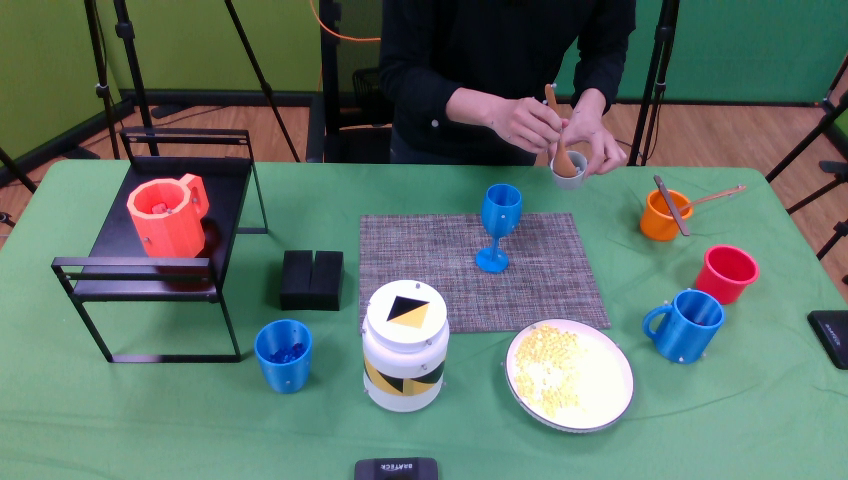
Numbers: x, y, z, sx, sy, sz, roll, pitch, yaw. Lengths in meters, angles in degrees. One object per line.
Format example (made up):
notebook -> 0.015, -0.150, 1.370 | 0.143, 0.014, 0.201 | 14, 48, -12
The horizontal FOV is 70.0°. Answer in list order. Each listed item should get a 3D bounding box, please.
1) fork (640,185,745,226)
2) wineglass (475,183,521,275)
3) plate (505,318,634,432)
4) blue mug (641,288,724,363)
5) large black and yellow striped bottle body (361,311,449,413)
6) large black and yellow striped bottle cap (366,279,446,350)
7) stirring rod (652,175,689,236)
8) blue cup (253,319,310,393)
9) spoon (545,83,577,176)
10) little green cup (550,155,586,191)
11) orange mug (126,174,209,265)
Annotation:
fork -> 0.534, -0.069, 1.215 | 0.207, 0.019, 0.028 | -26, 27, 33
wineglass -> 0.134, -0.020, 1.115 | 0.074, 0.173, 0.073 | 2, 46, -2
plate -> 0.235, 0.221, 0.991 | 0.209, 0.038, 0.208 | 2, 45, -2
blue mug -> 0.432, 0.144, 1.033 | 0.116, 0.106, 0.082 | 9, 46, 5
large black and yellow striped bottle body -> -0.031, 0.163, 0.924 | 0.131, 0.185, 0.130 | 2, 46, -2
large black and yellow striped bottle cap -> -0.025, 0.104, 0.864 | 0.115, 0.019, 0.114 | 3, 48, -3
stirring rod -> 0.491, -0.072, 1.211 | 0.014, 0.006, 0.175 | -1, 47, -6
blue cup -> -0.217, 0.187, 0.943 | 0.093, 0.101, 0.092 | 4, 45, -3
spoon -> 0.214, -0.170, 0.969 | 0.041, 0.195, 0.021 | 13, 52, 35
little green cup -> 0.248, -0.115, 1.050 | 0.061, 0.039, 0.061 | -3, 41, 3
orange mug -> -0.371, -0.039, 0.902 | 0.083, 0.101, 0.126 | 18, 51, 14
